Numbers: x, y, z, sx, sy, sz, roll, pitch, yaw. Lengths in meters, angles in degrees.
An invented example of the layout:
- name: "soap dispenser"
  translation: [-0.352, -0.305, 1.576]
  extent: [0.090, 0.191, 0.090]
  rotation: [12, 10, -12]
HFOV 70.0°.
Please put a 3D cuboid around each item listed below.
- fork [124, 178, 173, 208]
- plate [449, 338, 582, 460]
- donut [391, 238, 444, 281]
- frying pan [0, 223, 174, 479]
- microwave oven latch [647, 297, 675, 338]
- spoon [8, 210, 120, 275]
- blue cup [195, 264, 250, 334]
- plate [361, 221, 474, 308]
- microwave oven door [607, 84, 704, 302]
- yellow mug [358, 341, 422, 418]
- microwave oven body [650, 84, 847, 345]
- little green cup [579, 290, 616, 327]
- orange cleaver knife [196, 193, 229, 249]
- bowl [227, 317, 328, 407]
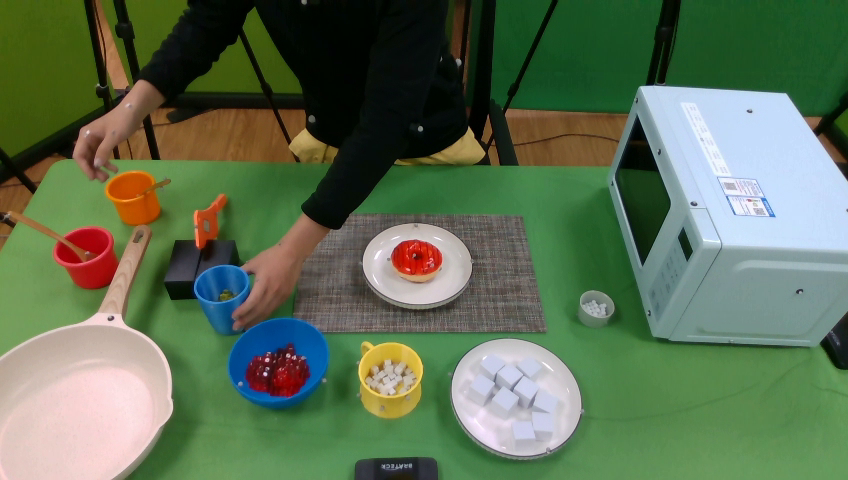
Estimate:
- name: "fork"
  translation: [-0.525, -0.090, 1.153]
  extent: [0.207, 0.019, 0.028]
  rotation: [-17, 28, 45]
- name: "plate"
  translation: [0.141, 0.251, 0.955]
  extent: [0.208, 0.039, 0.206]
  rotation: [2, 46, -2]
- name: "donut"
  translation: [-0.012, 0.035, 1.128]
  extent: [0.099, 0.048, 0.098]
  rotation: [3, 43, -3]
- name: "frying pan"
  translation: [-0.505, 0.169, 0.940]
  extent: [0.307, 0.103, 0.485]
  rotation: [5, 54, -1]
- name: "microwave oven latch"
  translation: [0.413, 0.133, 1.060]
  extent: [0.030, 0.029, 0.078]
  rotation: [5, 46, 2]
- name: "spoon"
  translation: [-0.628, 0.002, 1.063]
  extent: [0.195, 0.021, 0.041]
  rotation: [40, 41, -27]
- name: "blue cup"
  translation: [-0.331, 0.105, 1.017]
  extent: [0.093, 0.100, 0.092]
  rotation: [4, 44, -4]
- name: "plate"
  translation: [-0.011, 0.049, 1.130]
  extent: [0.209, 0.038, 0.208]
  rotation: [2, 46, -2]
- name: "microwave oven door"
  translation: [0.423, -0.096, 1.137]
  extent: [0.039, 0.245, 0.353]
  rotation: [2, 46, -1]
- name: "yellow mug"
  translation: [-0.063, 0.210, 0.961]
  extent: [0.100, 0.064, 0.130]
  rotation: [-29, 54, -28]
- name: "microwave oven body"
  translation: [0.569, -0.054, 1.116]
  extent: [0.326, 0.261, 0.439]
  rotation: [2, 46, -1]
- name: "little green cup"
  translation: [0.308, 0.124, 1.086]
  extent: [0.061, 0.039, 0.061]
  rotation: [1, 45, -1]
- name: "orange cleaver knife"
  translation: [-0.405, -0.041, 1.163]
  extent: [0.012, 0.077, 0.210]
  rotation: [1, 17, -3]
- name: "bowl"
  translation: [-0.222, 0.203, 0.947]
  extent: [0.151, 0.077, 0.150]
  rotation: [2, 46, -2]
